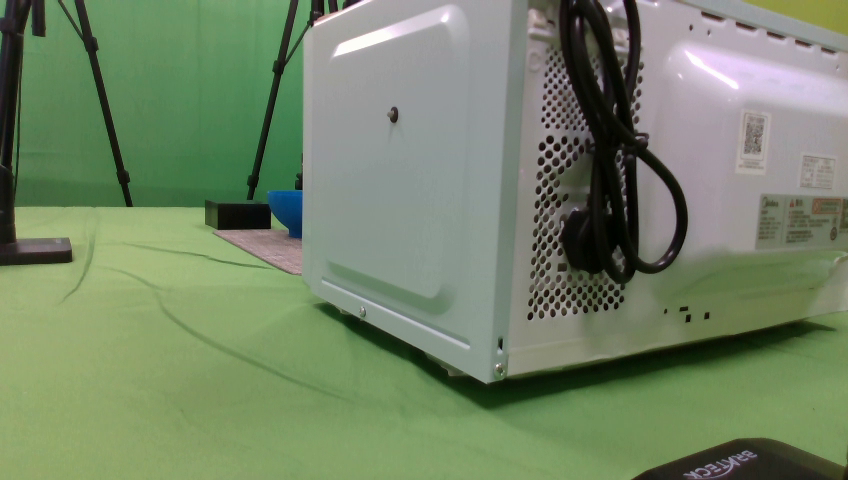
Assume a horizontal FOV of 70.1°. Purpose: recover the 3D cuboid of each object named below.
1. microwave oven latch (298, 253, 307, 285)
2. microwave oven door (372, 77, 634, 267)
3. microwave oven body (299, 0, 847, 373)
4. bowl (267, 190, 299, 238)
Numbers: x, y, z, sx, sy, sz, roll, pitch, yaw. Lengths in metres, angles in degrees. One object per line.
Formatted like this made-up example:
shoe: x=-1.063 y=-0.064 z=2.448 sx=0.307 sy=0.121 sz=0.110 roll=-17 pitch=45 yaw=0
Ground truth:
microwave oven latch: x=-0.081 y=0.027 z=0.583 sx=0.079 sy=0.029 sz=0.030 roll=-1 pitch=7 yaw=-32
microwave oven door: x=0.096 y=-0.099 z=0.837 sx=0.355 sy=0.243 sz=0.039 roll=5 pitch=8 yaw=20
microwave oven body: x=0.151 y=-0.055 z=0.543 sx=0.444 sy=0.260 sz=0.324 roll=-2 pitch=7 yaw=-33
bowl: x=-0.202 y=-0.046 z=1.069 sx=0.151 sy=0.077 sz=0.151 roll=3 pitch=7 yaw=0
